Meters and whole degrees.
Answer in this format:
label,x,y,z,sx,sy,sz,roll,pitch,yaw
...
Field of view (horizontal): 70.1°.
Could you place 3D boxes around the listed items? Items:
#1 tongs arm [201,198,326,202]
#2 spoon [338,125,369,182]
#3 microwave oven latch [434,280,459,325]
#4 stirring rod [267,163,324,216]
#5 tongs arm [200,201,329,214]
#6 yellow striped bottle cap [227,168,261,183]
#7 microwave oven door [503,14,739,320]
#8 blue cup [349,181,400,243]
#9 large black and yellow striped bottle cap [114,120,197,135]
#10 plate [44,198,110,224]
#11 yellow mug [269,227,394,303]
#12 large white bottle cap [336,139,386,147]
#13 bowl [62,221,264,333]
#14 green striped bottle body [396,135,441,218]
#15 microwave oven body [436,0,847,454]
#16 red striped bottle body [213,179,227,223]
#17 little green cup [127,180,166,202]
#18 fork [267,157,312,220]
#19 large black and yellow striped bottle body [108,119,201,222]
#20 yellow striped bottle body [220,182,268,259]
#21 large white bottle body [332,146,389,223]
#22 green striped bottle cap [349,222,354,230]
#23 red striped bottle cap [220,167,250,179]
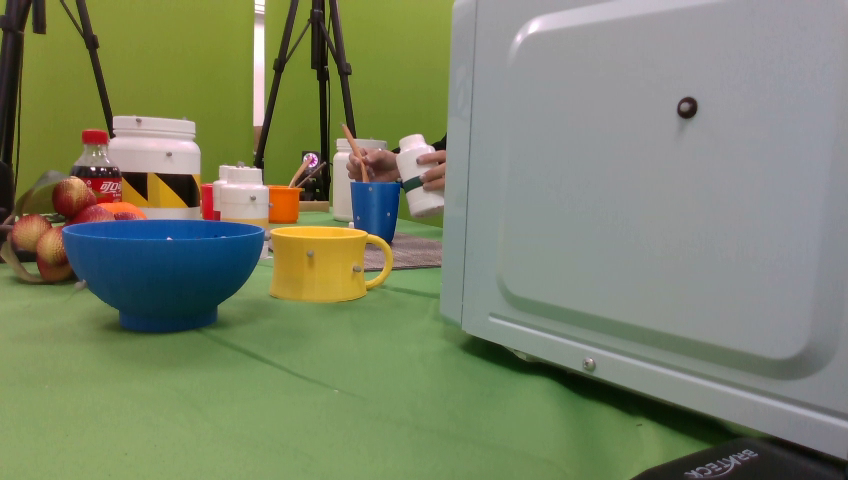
label,x,y,z,sx,sy,sz,roll,pitch,yaw
tongs arm,-0.433,-0.090,1.508,0.390,0.028,0.028,-1,2,-29
spoon,-0.110,-0.125,1.038,0.021,0.193,0.042,-36,-27,29
microwave oven latch,0.044,0.045,0.470,0.079,0.029,0.030,-2,8,-39
stirring rod,-0.278,-0.105,1.294,0.176,0.006,0.014,-47,26,-18
tongs arm,-0.378,-0.079,1.440,0.387,0.026,0.050,-4,7,-44
yellow striped bottle cap,-0.243,-0.087,0.818,0.044,0.018,0.044,3,6,0
microwave oven door,0.218,-0.065,0.600,0.358,0.243,0.039,-4,10,-41
blue cup,-0.083,-0.047,1.011,0.093,0.100,0.092,1,7,0
large black and yellow striped bottle cap,-0.407,-0.171,0.920,0.115,0.019,0.115,2,9,0
plate,-0.617,-0.056,1.179,0.209,0.038,0.209,3,7,0
yellow mug,-0.094,0.023,0.629,0.131,0.064,0.099,0,7,-22
large white bottle cap,-0.143,-0.219,1.375,0.115,0.018,0.115,2,8,0
bowl,-0.209,0.029,0.496,0.151,0.077,0.151,2,7,0
green striped bottle body,-0.003,-0.098,0.920,0.063,0.119,0.063,-15,-7,-2
microwave oven body,0.279,-0.040,0.465,0.444,0.260,0.324,-3,9,-41
red striped bottle body,-0.284,-0.048,0.909,0.063,0.119,0.063,3,11,0
little green cup,-0.485,-0.086,1.061,0.061,0.038,0.061,1,7,0
fork,-0.289,-0.116,1.321,0.028,0.019,0.207,6,51,19
large black and yellow striped bottle body,-0.412,-0.088,0.930,0.131,0.184,0.130,3,7,0
yellow striped bottle body,-0.246,-0.036,0.825,0.063,0.120,0.063,3,8,0
large white bottle body,-0.146,-0.136,1.388,0.131,0.184,0.130,2,8,0
green striped bottle cap,-0.122,-0.025,1.156,0.044,0.020,0.044,-3,10,1
red striped bottle cap,-0.281,-0.100,0.901,0.044,0.017,0.044,-1,5,0
